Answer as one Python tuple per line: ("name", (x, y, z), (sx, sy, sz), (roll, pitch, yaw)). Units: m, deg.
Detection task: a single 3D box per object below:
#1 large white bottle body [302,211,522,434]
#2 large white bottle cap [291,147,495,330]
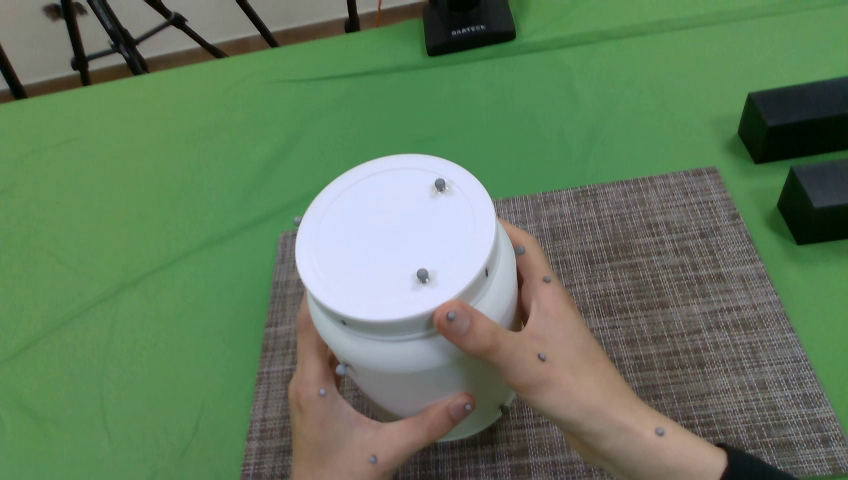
("large white bottle body", (-0.003, 0.042, 0.408), (0.130, 0.186, 0.129), (-5, 56, 8))
("large white bottle cap", (-0.018, -0.004, 0.338), (0.114, 0.018, 0.113), (-5, 56, 8))
